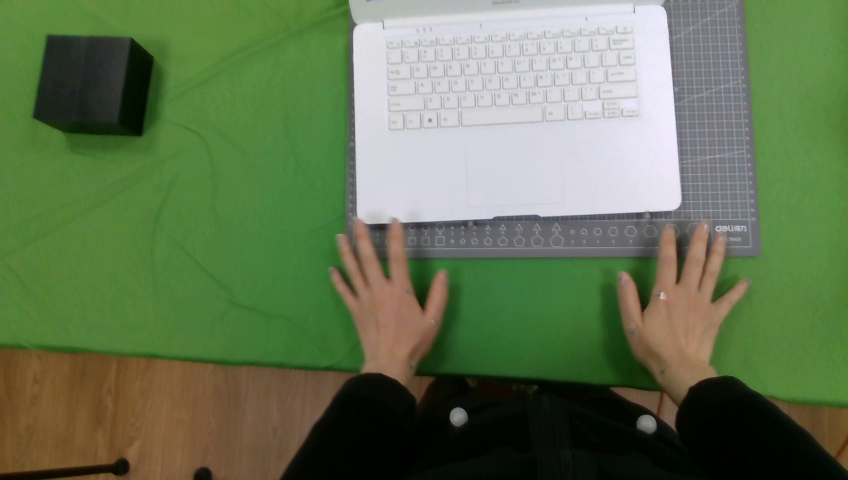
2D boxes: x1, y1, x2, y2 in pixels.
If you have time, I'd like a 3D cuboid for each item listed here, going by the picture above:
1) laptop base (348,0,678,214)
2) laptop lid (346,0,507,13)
[{"bbox_3d":[0.094,-0.151,0.675,0.354,0.023,0.235,-2,87,3],"label":"laptop base"},{"bbox_3d":[0.080,-0.328,0.587,0.356,0.244,0.013,-3,58,4],"label":"laptop lid"}]
